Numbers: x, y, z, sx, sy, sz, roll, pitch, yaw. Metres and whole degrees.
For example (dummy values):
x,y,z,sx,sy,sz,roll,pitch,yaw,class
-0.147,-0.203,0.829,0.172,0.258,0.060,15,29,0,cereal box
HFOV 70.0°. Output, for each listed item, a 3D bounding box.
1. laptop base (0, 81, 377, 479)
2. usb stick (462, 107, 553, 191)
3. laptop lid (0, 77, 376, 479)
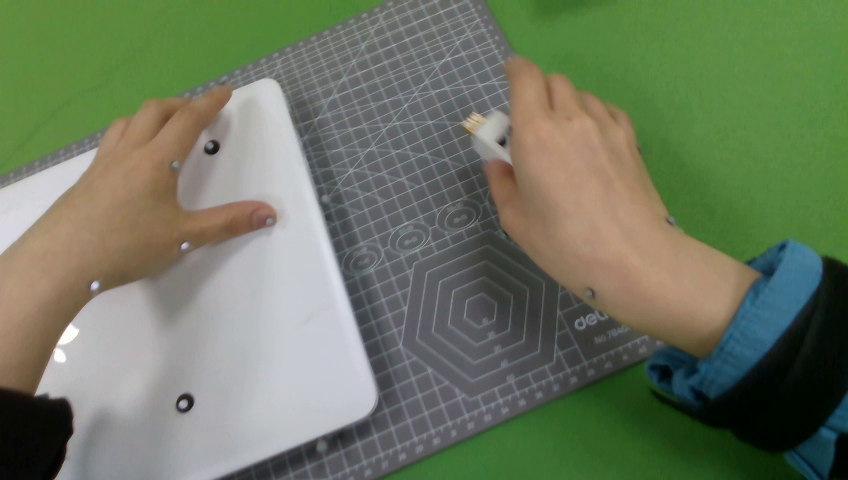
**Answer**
x,y,z,sx,sy,sz,roll,pitch,yaw,class
-0.223,0.056,0.380,0.354,0.023,0.233,-22,70,2,laptop base
0.045,-0.056,0.347,0.059,0.027,0.021,42,84,20,usb stick
-0.224,0.054,0.368,0.357,0.013,0.239,-20,69,2,laptop lid
